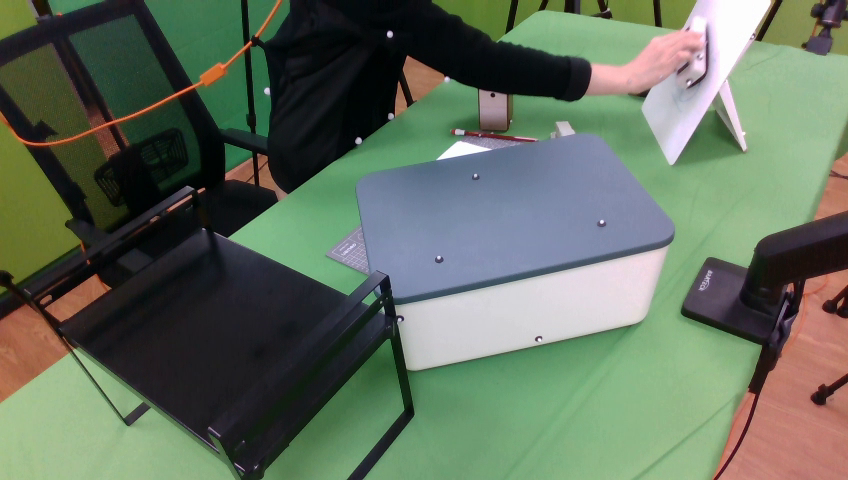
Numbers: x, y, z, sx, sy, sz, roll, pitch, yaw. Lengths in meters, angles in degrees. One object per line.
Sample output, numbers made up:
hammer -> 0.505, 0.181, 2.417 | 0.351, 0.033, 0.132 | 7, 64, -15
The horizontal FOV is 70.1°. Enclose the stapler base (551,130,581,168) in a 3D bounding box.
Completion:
stapler base -> 0.268, -0.178, 1.142 | 0.041, 0.024, 0.130 | 1, 37, 3

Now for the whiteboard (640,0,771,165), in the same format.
whiteboard -> 0.544, -0.298, 1.076 | 0.144, 0.305, 0.216 | 12, 40, -7

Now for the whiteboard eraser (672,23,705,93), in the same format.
whiteboard eraser -> 0.461, -0.315, 1.051 | 0.042, 0.055, 0.112 | 12, 70, -9

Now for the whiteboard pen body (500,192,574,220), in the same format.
whiteboard pen body -> 0.191, -0.059, 1.011 | 0.141, 0.017, 0.017 | -18, 42, -15

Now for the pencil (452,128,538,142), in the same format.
pencil -> 0.146, -0.207, 1.205 | 0.193, 0.012, 0.012 | 11, 43, 20

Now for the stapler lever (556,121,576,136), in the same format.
stapler lever -> 0.267, -0.198, 1.128 | 0.027, 0.040, 0.117 | 1, 38, 3

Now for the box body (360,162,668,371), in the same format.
box body -> 0.109, 0.014, 0.833 | 0.365, 0.161, 0.252 | -11, 41, -5

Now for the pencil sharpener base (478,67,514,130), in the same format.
pencil sharpener base -> 0.148, -0.287, 1.224 | 0.061, 0.107, 0.076 | 5, 42, 15

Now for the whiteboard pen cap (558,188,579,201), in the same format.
whiteboard pen cap -> 0.245, -0.076, 1.028 | 0.033, 0.018, 0.018 | -19, 42, -14

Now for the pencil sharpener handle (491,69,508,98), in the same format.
pencil sharpener handle -> 0.156, -0.330, 1.254 | 0.036, 0.068, 0.030 | 16, 44, 5

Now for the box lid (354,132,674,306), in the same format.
box lid -> 0.103, -0.042, 0.785 | 0.372, 0.015, 0.261 | -12, 41, -5
